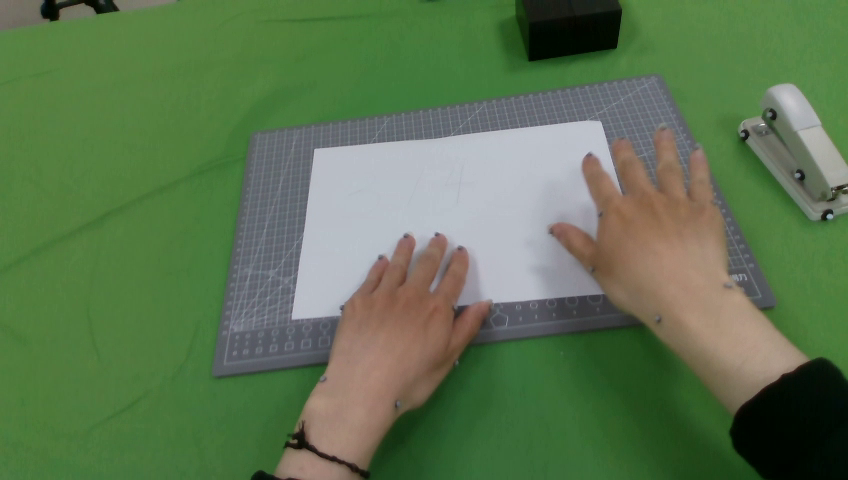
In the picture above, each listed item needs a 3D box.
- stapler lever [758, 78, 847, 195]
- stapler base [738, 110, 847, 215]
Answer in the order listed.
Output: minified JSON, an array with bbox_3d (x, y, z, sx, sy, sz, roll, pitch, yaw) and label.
[{"bbox_3d":[0.332,-0.093,0.526,0.027,0.040,0.117,-16,54,0],"label":"stapler lever"},{"bbox_3d":[0.334,-0.079,0.547,0.041,0.025,0.129,-16,54,0],"label":"stapler base"}]
